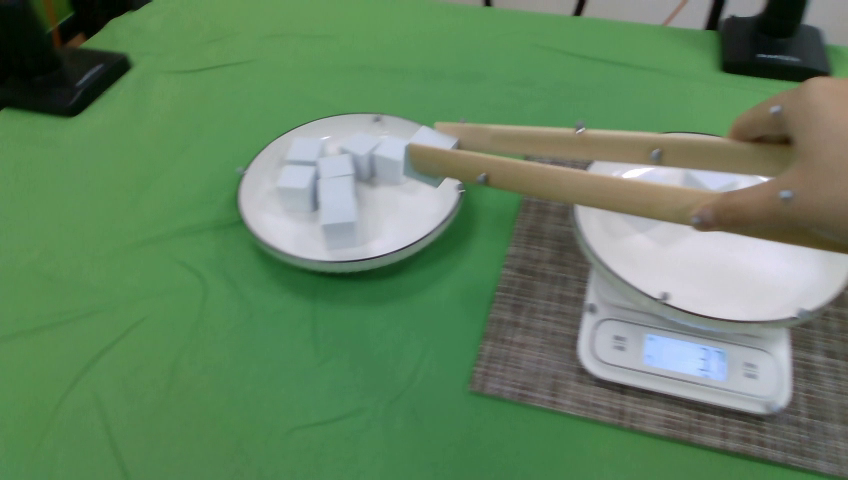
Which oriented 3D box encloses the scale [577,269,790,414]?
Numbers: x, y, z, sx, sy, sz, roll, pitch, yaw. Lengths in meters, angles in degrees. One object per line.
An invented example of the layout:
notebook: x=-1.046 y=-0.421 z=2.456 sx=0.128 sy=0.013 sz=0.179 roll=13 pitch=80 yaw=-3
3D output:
scale: x=0.210 y=0.034 z=0.490 sx=0.148 sy=0.032 sz=0.199 roll=11 pitch=49 yaw=13

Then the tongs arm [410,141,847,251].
tongs arm: x=0.147 y=-0.027 z=0.344 sx=0.384 sy=0.028 sz=0.028 roll=13 pitch=42 yaw=34

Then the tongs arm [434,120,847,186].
tongs arm: x=0.161 y=-0.041 z=0.358 sx=0.382 sy=0.027 sz=0.050 roll=10 pitch=43 yaw=31

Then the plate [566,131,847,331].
plate: x=0.216 y=-0.009 z=0.484 sx=0.208 sy=0.039 sz=0.205 roll=0 pitch=48 yaw=1

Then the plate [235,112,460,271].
plate: x=-0.069 y=-0.046 z=0.574 sx=0.209 sy=0.038 sz=0.207 roll=-1 pitch=47 yaw=1
